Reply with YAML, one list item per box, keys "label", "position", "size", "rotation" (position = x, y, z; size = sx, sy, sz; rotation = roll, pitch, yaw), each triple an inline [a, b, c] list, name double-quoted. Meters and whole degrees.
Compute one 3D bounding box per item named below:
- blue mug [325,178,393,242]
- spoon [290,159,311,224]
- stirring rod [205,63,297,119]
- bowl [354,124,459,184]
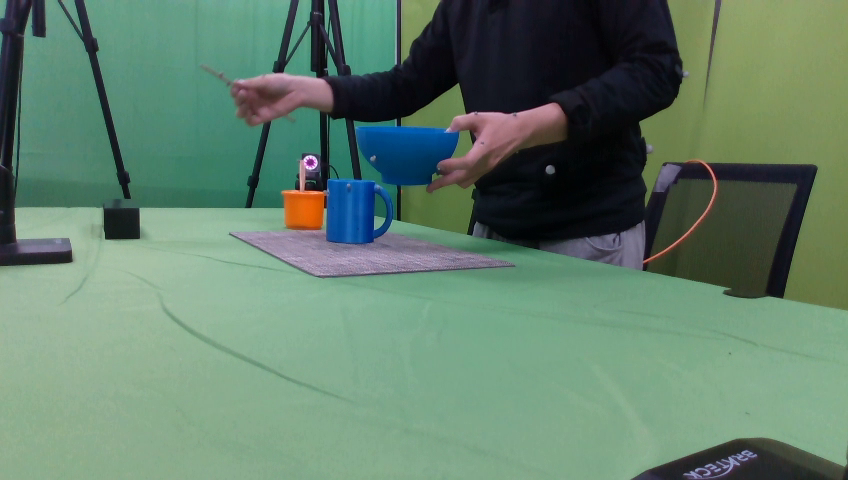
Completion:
- label: "blue mug"
  position: [-0.111, -0.052, 1.033]
  size: [0.116, 0.106, 0.082]
  rotation: [3, 7, 7]
- label: "spoon"
  position: [-0.256, -0.104, 1.265]
  size: [0.042, 0.193, 0.021]
  rotation: [1, -37, -10]
- label: "stirring rod"
  position: [-0.300, -0.259, 1.055]
  size: [0.176, 0.006, 0.014]
  rotation: [30, -1, -10]
- label: "bowl"
  position: [-0.026, -0.124, 0.871]
  size: [0.151, 0.077, 0.151]
  rotation: [1, 14, 0]
